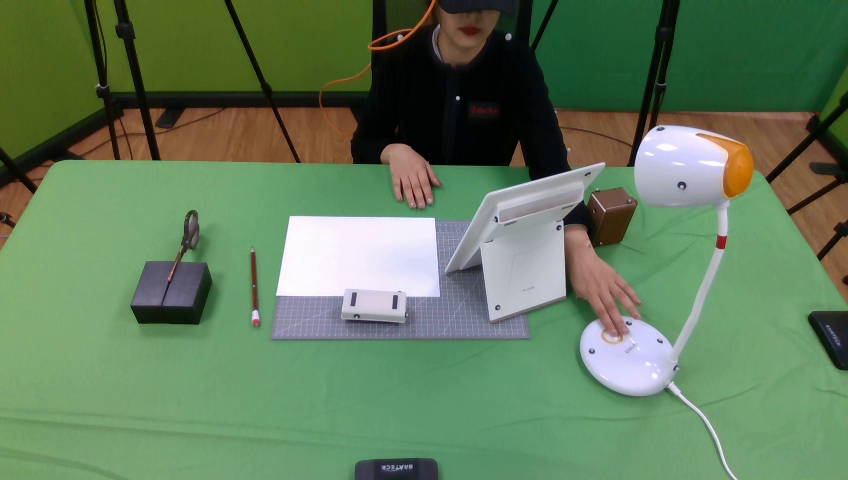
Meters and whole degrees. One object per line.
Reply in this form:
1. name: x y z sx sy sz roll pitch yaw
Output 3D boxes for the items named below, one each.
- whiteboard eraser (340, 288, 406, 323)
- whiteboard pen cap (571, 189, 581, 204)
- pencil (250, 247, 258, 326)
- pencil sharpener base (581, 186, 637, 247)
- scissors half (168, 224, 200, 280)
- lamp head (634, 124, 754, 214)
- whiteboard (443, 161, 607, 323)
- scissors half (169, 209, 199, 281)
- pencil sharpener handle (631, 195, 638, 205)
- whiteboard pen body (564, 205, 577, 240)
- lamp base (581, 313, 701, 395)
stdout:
1. whiteboard eraser: -0.088 0.117 1.060 0.113 0.042 0.055 3 45 -1
2. whiteboard pen cap: 0.327 -0.093 1.307 0.018 0.018 0.033 19 51 14
3. pencil: -0.312 0.079 1.107 0.012 0.012 0.192 -7 46 -11
4. pencil sharpener base: 0.369 -0.047 1.208 0.077 0.107 0.061 -11 47 -15
5. scissors half: -0.440 0.023 1.111 0.013 0.040 0.174 7 29 -6
6. lamp head: 0.351 -0.089 0.776 0.112 0.113 0.122 -30 30 -28
7. whiteboard: 0.185 0.025 1.029 0.217 0.306 0.143 -15 68 -18
8. scissors half: -0.438 0.007 1.098 0.013 0.040 0.174 3 48 -3
9. pencil sharpener handle: 0.417 -0.068 1.215 0.031 0.068 0.036 -11 61 -15
10. whiteboard pen body: 0.307 -0.052 1.272 0.017 0.017 0.140 17 49 12
11. lamp base: 0.361 0.144 0.973 0.178 0.181 0.160 34 53 23
